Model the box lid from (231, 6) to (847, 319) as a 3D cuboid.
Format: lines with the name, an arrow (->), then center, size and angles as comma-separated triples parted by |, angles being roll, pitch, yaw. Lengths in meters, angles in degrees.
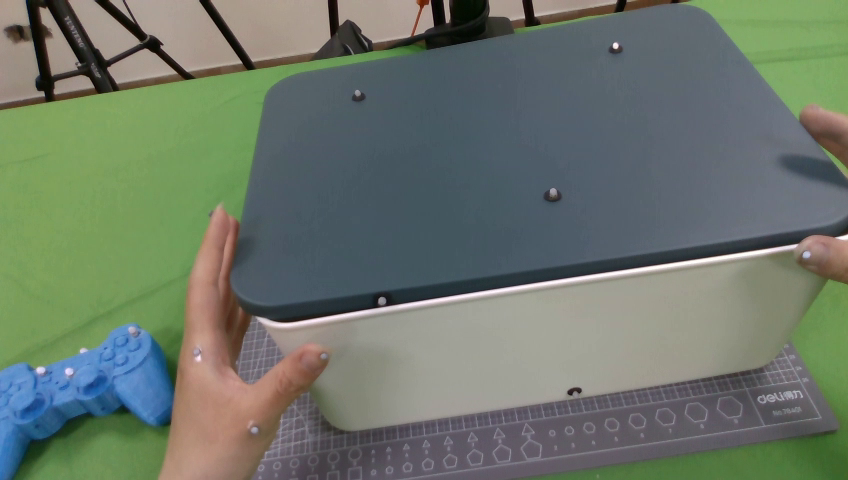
box lid -> 0.056, -0.074, 0.425 | 0.371, 0.015, 0.260 | -9, 46, 2

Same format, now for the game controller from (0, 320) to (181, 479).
game controller -> -0.283, 0.122, 0.491 | 0.155, 0.052, 0.096 | -19, 44, -9

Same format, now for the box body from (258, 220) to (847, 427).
box body -> 0.076, -0.015, 0.476 | 0.364, 0.162, 0.251 | -9, 47, 1
